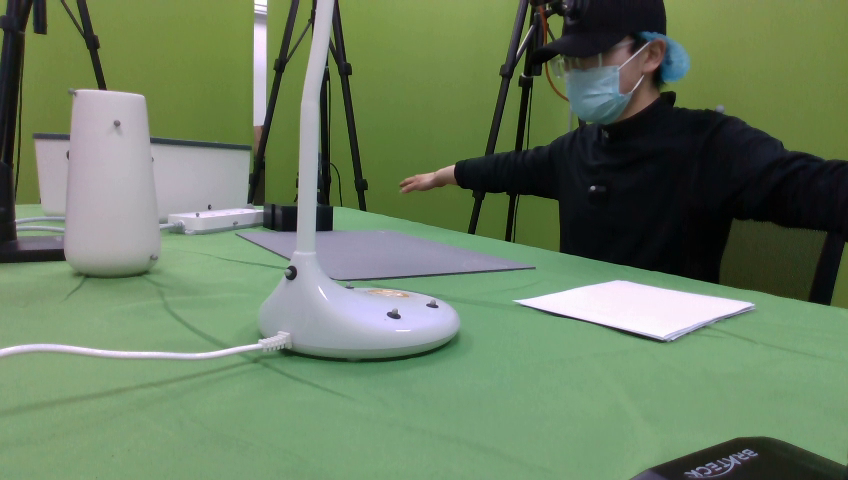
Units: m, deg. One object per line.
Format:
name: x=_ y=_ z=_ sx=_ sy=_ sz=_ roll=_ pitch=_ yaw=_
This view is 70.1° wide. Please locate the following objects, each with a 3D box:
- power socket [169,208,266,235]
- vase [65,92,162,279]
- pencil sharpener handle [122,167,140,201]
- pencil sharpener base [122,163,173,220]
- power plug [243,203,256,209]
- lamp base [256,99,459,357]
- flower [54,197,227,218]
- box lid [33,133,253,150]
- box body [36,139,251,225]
power socket: x=-0.379 y=-0.038 z=1.129 sx=0.072 sy=0.032 sz=0.227 roll=4 pitch=8 yaw=18
vase: x=-0.347 y=-0.060 z=0.673 sx=0.098 sy=0.200 sz=0.098 roll=1 pitch=7 yaw=0
pencil sharpener handle: x=-0.585 y=-0.111 z=1.193 sx=0.030 sy=0.068 sz=0.036 roll=4 pitch=14 yaw=21
pencil sharpener base: x=-0.539 y=-0.095 z=1.174 sx=0.076 sy=0.107 sz=0.061 roll=4 pitch=7 yaw=21
power plug: x=-0.378 y=-0.049 z=1.271 sx=0.052 sy=0.035 sz=0.072 roll=-4 pitch=35 yaw=27
lamp base: x=-0.055 y=-0.013 z=0.463 sx=0.160 sy=0.180 sz=0.180 roll=6 pitch=11 yaw=27
flower: x=-0.573 y=-0.058 z=1.266 sx=0.044 sy=0.038 sz=0.364 roll=36 pitch=20 yaw=33
box lid: x=-0.555 y=-0.199 z=1.249 sx=0.263 sy=0.015 sz=0.372 roll=5 pitch=8 yaw=15
box body: x=-0.558 y=-0.127 z=1.257 sx=0.253 sy=0.160 sz=0.365 roll=4 pitch=8 yaw=15
